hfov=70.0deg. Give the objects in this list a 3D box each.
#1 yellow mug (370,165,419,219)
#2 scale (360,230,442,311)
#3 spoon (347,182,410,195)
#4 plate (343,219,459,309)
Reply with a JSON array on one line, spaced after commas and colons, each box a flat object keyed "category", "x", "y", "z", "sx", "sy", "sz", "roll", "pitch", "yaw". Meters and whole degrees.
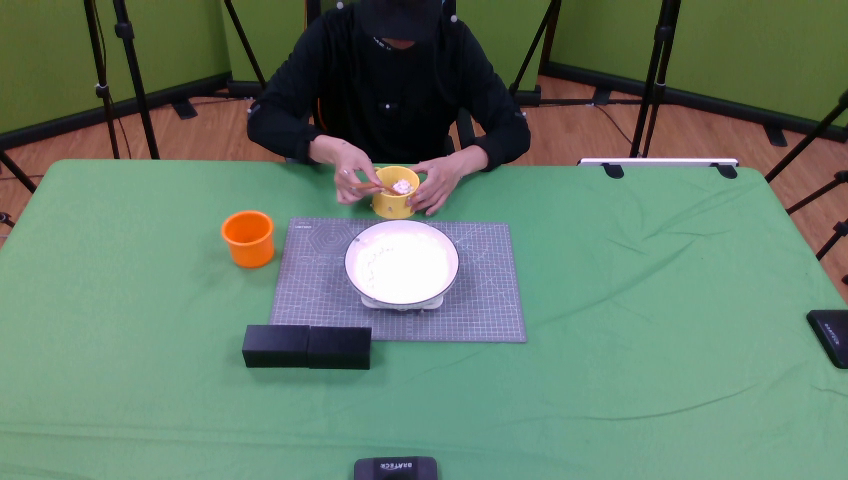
[{"category": "yellow mug", "x": -0.071, "y": -0.108, "z": 1.267, "sx": 0.100, "sy": 0.064, "sz": 0.130, "roll": -30, "pitch": 54, "yaw": -28}, {"category": "scale", "x": -0.042, "y": 0.047, "z": 1.138, "sx": 0.149, "sy": 0.032, "sz": 0.199, "roll": 2, "pitch": 46, "yaw": -3}, {"category": "spoon", "x": -0.090, "y": -0.106, "z": 1.209, "sx": 0.041, "sy": 0.021, "sz": 0.194, "roll": 40, "pitch": 20, "yaw": 25}, {"category": "plate", "x": -0.041, "y": 0.046, "z": 1.094, "sx": 0.209, "sy": 0.038, "sz": 0.208, "roll": 2, "pitch": 46, "yaw": -2}]
